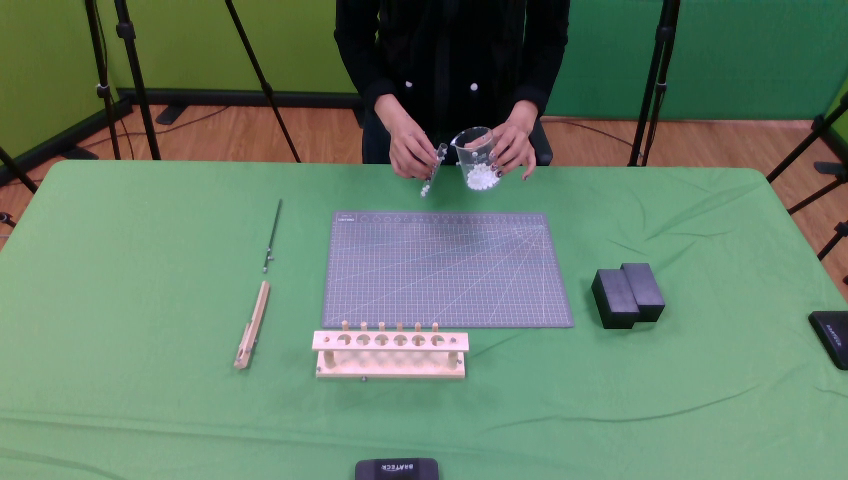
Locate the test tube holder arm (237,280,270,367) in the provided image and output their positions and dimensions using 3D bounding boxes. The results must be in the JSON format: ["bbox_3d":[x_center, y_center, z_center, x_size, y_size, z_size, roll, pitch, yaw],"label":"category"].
[{"bbox_3d":[-0.291,0.140,1.042,0.013,0.015,0.177,-17,41,22],"label":"test tube holder arm"}]

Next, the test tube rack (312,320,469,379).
[{"bbox_3d":[-0.054,0.173,0.984,0.242,0.085,0.066,1,46,-3],"label":"test tube rack"}]

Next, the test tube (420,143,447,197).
[{"bbox_3d":[0.017,-0.133,1.175,0.017,0.151,0.017,9,53,-12],"label":"test tube"}]

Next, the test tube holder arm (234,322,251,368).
[{"bbox_3d":[-0.299,0.173,1.013,0.010,0.015,0.087,-16,42,22],"label":"test tube holder arm"}]

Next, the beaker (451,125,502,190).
[{"bbox_3d":[0.099,-0.149,1.121,0.084,0.101,0.073,-5,39,19],"label":"beaker"}]

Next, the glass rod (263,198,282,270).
[{"bbox_3d":[-0.299,-0.017,1.202,0.008,0.008,0.198,1,46,-2],"label":"glass rod"}]
